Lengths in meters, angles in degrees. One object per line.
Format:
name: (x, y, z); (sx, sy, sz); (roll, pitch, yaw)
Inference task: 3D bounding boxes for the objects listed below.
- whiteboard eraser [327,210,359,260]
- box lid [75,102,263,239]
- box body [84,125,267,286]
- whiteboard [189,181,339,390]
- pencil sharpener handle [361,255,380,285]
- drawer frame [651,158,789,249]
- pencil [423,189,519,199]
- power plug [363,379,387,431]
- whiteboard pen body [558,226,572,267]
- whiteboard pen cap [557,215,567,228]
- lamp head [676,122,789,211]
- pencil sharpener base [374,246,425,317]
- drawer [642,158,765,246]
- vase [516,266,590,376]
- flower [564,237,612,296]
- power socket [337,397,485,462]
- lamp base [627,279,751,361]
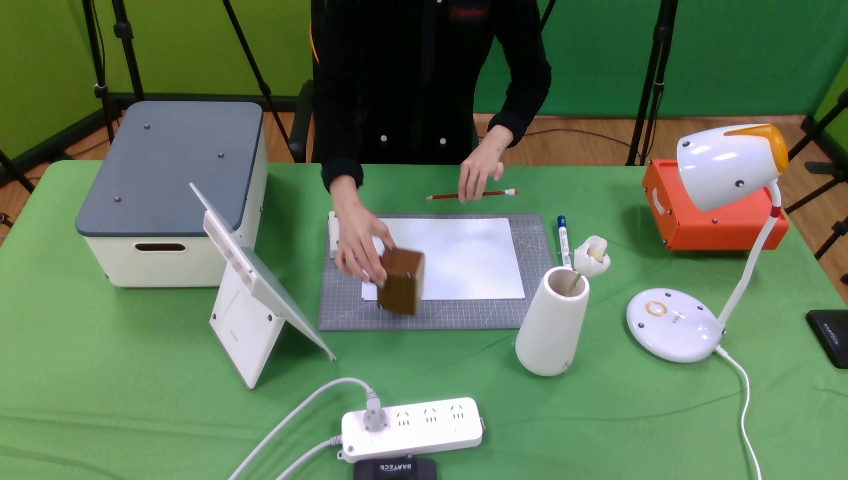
whiteboard eraser: (-0.158, -0.009, 1.176); (0.055, 0.042, 0.112); (-6, 47, -7)
box lid: (-0.443, -0.138, 1.094); (0.263, 0.015, 0.369); (-1, 47, -5)
box body: (-0.446, -0.088, 1.150); (0.254, 0.161, 0.361); (-1, 46, -5)
whiteboard: (-0.292, 0.096, 0.929); (0.144, 0.307, 0.216); (-37, 57, -10)
pencil sharpener handle: (-0.091, 0.051, 1.013); (0.030, 0.068, 0.036); (11, 48, 8)
drawer frame: (0.571, -0.075, 1.214); (0.214, 0.083, 0.200); (0, 46, -1)
pencil: (0.092, -0.089, 1.190); (0.194, 0.012, 0.012); (-5, 47, -8)
power plug: (-0.072, 0.252, 0.910); (0.035, 0.053, 0.072); (3, 45, -1)
whiteboard pen body: (0.280, 0.010, 1.208); (0.017, 0.017, 0.140); (3, 50, -1)
whiteboard pen cap: (0.284, -0.035, 1.246); (0.018, 0.018, 0.033); (3, 51, -1)
lamp head: (0.423, -0.104, 0.819); (0.122, 0.113, 0.112); (-13, 33, 40)
pencil sharpener base: (-0.042, 0.069, 1.015); (0.076, 0.107, 0.061); (11, 46, 8)
drawer: (0.565, -0.076, 1.211); (0.212, 0.073, 0.193); (2, 45, -2)
vase: (0.208, 0.132, 0.964); (0.098, 0.201, 0.097); (3, 46, -3)
flower: (0.206, 0.088, 0.893); (0.038, 0.363, 0.044); (-16, 67, -9)
power socket: (-0.018, 0.285, 0.915); (0.227, 0.033, 0.071); (-5, 46, -8)
lamp base: (0.459, 0.100, 1.027); (0.178, 0.181, 0.160); (27, 51, 17)
